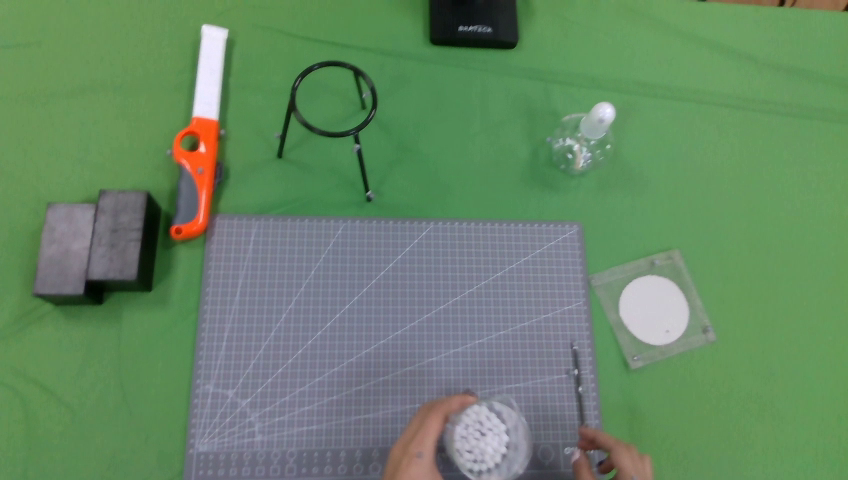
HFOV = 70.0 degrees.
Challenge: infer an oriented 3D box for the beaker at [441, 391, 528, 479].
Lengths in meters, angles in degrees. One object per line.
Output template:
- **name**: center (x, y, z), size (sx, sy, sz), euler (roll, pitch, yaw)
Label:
- **beaker**: center (0.056, 0.189, 0.595), size (0.074, 0.100, 0.083), euler (25, 74, 2)

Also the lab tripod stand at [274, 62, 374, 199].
- **lab tripod stand**: center (-0.104, -0.131, 0.688), size (0.148, 0.132, 0.147), euler (2, 71, -5)

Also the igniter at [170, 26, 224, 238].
- **igniter**: center (-0.267, -0.132, 0.723), size (0.057, 0.025, 0.275), euler (6, 71, -21)

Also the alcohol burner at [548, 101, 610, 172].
- **alcohol burner**: center (0.195, -0.131, 0.737), size (0.078, 0.119, 0.077), euler (2, 70, -6)

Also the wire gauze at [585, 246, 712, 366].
- **wire gauze**: center (0.276, 0.078, 0.737), size (0.125, 0.011, 0.121), euler (-17, 75, -10)

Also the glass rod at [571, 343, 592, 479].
- **glass rod**: center (0.178, 0.215, 0.678), size (0.008, 0.008, 0.198), euler (0, 72, -7)

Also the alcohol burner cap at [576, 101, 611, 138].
- **alcohol burner cap**: center (0.199, -0.142, 0.703), size (0.034, 0.048, 0.033), euler (1, 76, -4)
